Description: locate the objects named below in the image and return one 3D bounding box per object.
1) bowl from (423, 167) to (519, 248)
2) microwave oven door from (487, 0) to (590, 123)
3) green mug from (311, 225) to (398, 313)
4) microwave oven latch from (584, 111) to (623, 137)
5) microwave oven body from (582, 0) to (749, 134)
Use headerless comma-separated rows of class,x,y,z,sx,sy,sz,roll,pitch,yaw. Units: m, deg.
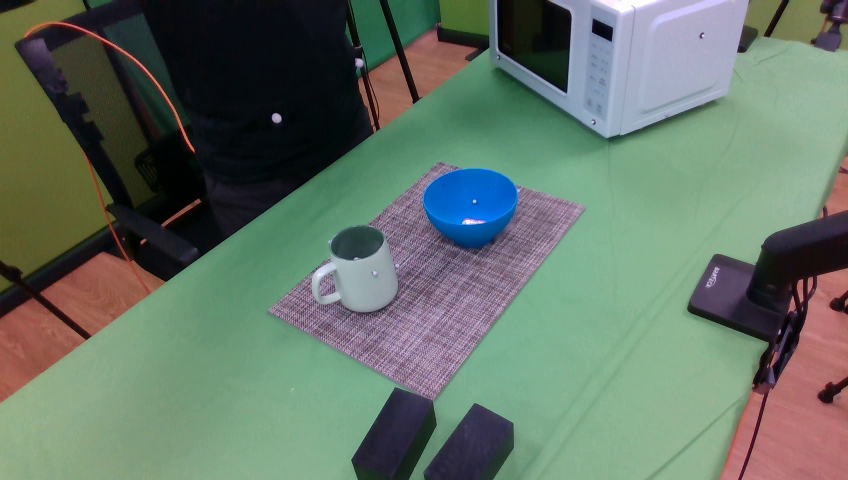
bowl,0.075,-0.041,0.959,0.151,0.077,0.150,-4,40,4
microwave oven door,0.232,-0.420,1.231,0.039,0.245,0.352,-22,43,-16
green mug,-0.101,0.050,0.857,0.126,0.105,0.091,-28,45,-23
microwave oven latch,0.337,-0.222,1.142,0.030,0.029,0.078,-21,42,-14
microwave oven body,0.382,-0.444,1.246,0.327,0.261,0.437,-22,42,-16
